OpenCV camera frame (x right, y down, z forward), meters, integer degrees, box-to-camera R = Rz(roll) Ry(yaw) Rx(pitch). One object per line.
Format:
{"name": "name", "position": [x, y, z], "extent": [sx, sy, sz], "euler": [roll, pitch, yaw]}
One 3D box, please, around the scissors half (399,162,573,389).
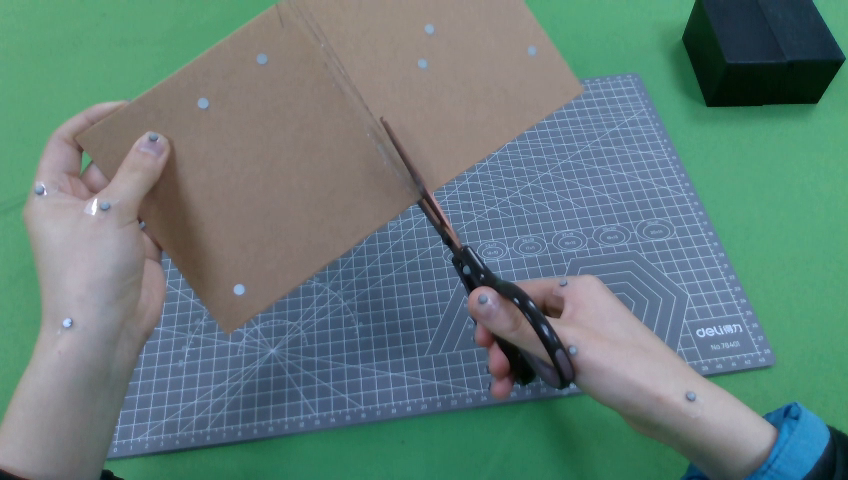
{"name": "scissors half", "position": [0.021, 0.003, 0.322], "extent": [0.013, 0.040, 0.173], "euler": [-31, 65, -16]}

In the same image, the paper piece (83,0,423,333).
{"name": "paper piece", "position": [-0.095, -0.041, 0.336], "extent": [0.138, 0.008, 0.136], "euler": [-34, 89, 1]}

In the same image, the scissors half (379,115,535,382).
{"name": "scissors half", "position": [0.018, 0.008, 0.346], "extent": [0.013, 0.040, 0.176], "euler": [-32, 105, -11]}

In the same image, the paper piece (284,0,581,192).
{"name": "paper piece", "position": [0.012, -0.115, 0.358], "extent": [0.136, 0.004, 0.135], "euler": [-34, 91, -21]}
